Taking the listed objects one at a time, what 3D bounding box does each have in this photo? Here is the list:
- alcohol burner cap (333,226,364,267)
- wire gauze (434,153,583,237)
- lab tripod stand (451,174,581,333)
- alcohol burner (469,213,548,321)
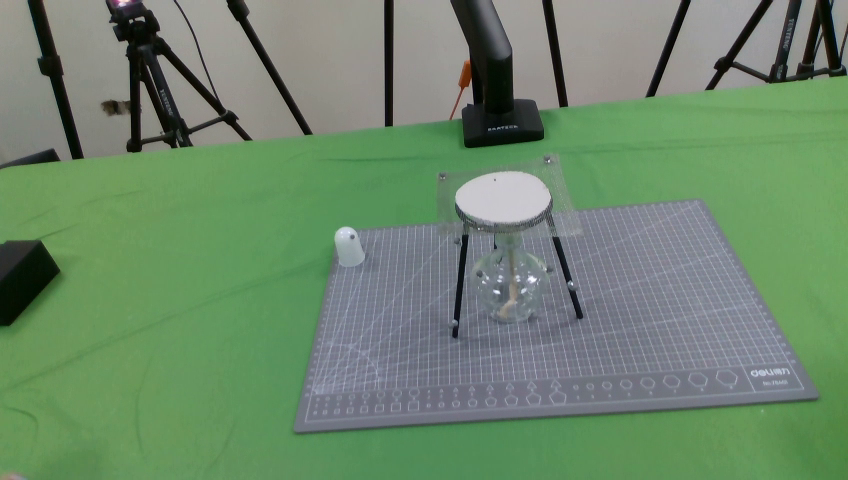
[{"bbox_3d":[-0.091,0.004,0.712,0.034,0.048,0.033,-5,39,4],"label":"alcohol burner cap"},{"bbox_3d":[0.071,-0.040,0.550,0.125,0.011,0.120,-4,38,4],"label":"wire gauze"},{"bbox_3d":[0.083,0.012,0.592,0.148,0.133,0.147,-4,37,3],"label":"lab tripod stand"},{"bbox_3d":[0.083,0.022,0.596,0.078,0.120,0.077,-4,38,3],"label":"alcohol burner"}]
